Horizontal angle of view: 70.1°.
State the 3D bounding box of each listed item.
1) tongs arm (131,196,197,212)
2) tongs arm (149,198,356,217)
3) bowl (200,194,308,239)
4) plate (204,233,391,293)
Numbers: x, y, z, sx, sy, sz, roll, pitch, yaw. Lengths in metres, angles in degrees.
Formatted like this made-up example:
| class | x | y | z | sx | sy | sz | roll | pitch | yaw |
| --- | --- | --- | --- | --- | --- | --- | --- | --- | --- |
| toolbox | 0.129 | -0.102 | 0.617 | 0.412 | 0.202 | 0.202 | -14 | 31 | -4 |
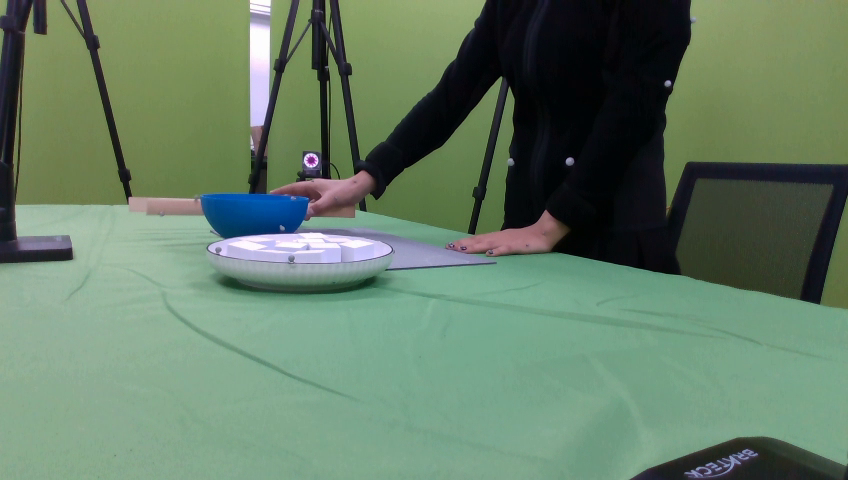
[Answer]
| class | x | y | z | sx | sy | sz | roll | pitch | yaw |
| --- | --- | --- | --- | --- | --- | --- | --- | --- | --- |
| tongs arm | -0.318 | -0.060 | 1.102 | 0.390 | 0.027 | 0.028 | 0 | -1 | -28 |
| tongs arm | -0.274 | -0.055 | 1.041 | 0.387 | 0.026 | 0.050 | -1 | 3 | -40 |
| bowl | -0.245 | -0.025 | 0.879 | 0.151 | 0.077 | 0.151 | 2 | 7 | 0 |
| plate | -0.143 | 0.025 | 0.697 | 0.208 | 0.039 | 0.207 | 3 | 9 | 0 |
